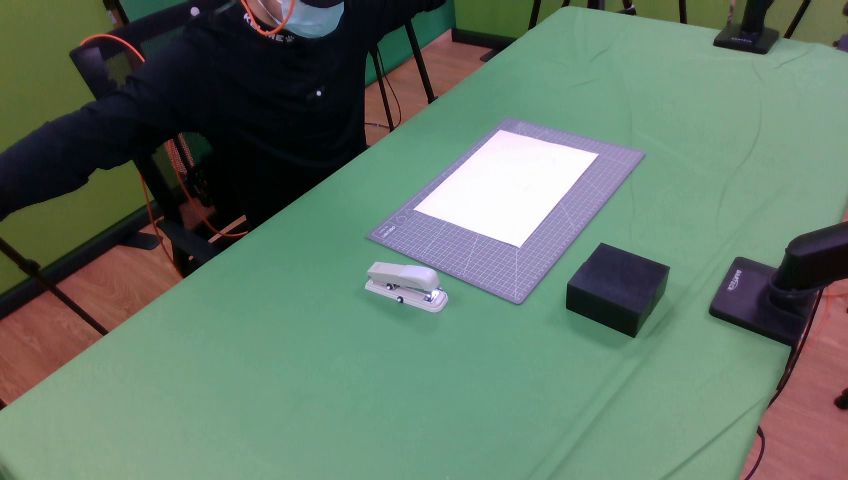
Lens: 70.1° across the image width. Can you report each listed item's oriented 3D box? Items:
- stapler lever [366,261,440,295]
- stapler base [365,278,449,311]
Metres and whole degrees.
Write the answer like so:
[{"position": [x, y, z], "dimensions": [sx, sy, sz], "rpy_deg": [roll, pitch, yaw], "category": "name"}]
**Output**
[{"position": [-0.032, 0.049, 0.878], "dimensions": [0.117, 0.040, 0.027], "rpy_deg": [15, 43, 26], "category": "stapler lever"}, {"position": [-0.027, 0.069, 0.893], "dimensions": [0.129, 0.024, 0.041], "rpy_deg": [15, 42, 26], "category": "stapler base"}]
